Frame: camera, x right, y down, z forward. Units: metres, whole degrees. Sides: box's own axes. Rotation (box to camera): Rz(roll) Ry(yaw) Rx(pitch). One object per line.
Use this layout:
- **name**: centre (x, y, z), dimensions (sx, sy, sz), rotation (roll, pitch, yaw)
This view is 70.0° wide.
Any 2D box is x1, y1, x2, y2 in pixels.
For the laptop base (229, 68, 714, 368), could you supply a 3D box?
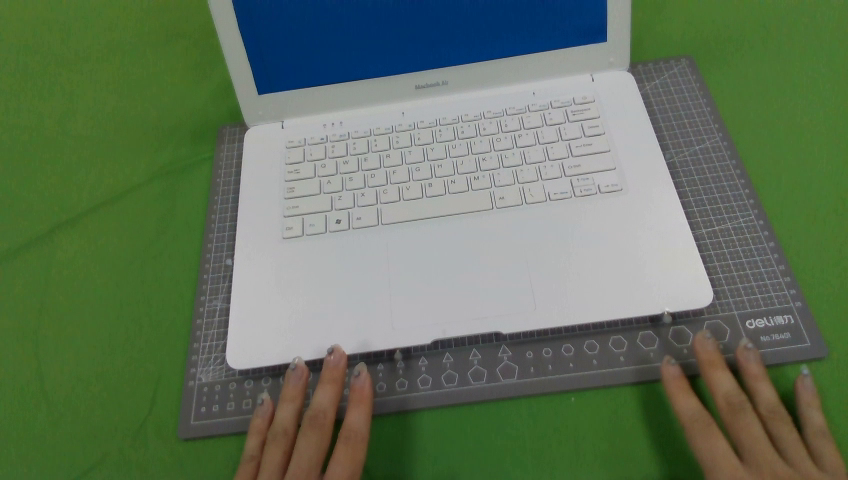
- **laptop base**: centre (0.022, -0.027, 0.494), dimensions (0.354, 0.023, 0.233), rotation (-8, 61, 3)

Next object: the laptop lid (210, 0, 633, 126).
- **laptop lid**: centre (-0.005, -0.225, 0.496), dimensions (0.356, 0.244, 0.013), rotation (-9, 30, 3)
